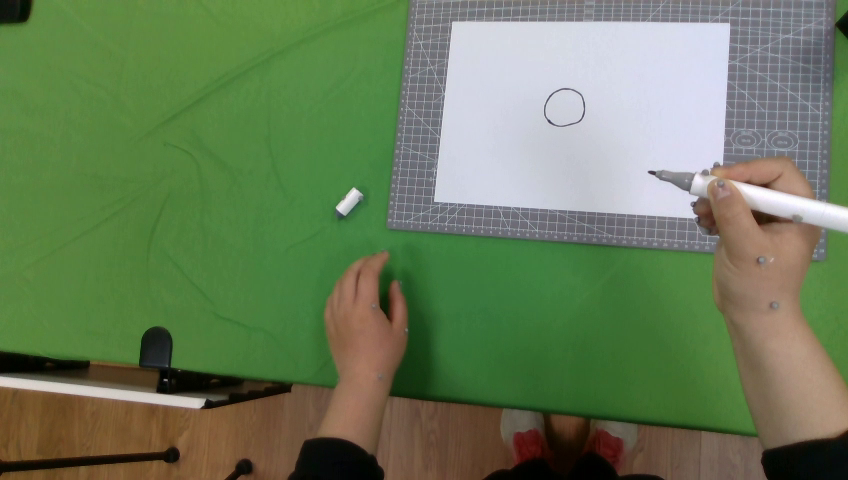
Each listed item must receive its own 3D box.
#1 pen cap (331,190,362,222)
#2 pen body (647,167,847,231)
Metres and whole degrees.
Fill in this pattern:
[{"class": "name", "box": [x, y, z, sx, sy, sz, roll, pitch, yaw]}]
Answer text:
[{"class": "pen cap", "box": [-0.089, -0.038, 0.692, 0.017, 0.017, 0.038, 44, 92, 13]}, {"class": "pen body", "box": [0.217, -0.028, 0.395, 0.143, 0.017, 0.017, 19, 87, 26]}]
